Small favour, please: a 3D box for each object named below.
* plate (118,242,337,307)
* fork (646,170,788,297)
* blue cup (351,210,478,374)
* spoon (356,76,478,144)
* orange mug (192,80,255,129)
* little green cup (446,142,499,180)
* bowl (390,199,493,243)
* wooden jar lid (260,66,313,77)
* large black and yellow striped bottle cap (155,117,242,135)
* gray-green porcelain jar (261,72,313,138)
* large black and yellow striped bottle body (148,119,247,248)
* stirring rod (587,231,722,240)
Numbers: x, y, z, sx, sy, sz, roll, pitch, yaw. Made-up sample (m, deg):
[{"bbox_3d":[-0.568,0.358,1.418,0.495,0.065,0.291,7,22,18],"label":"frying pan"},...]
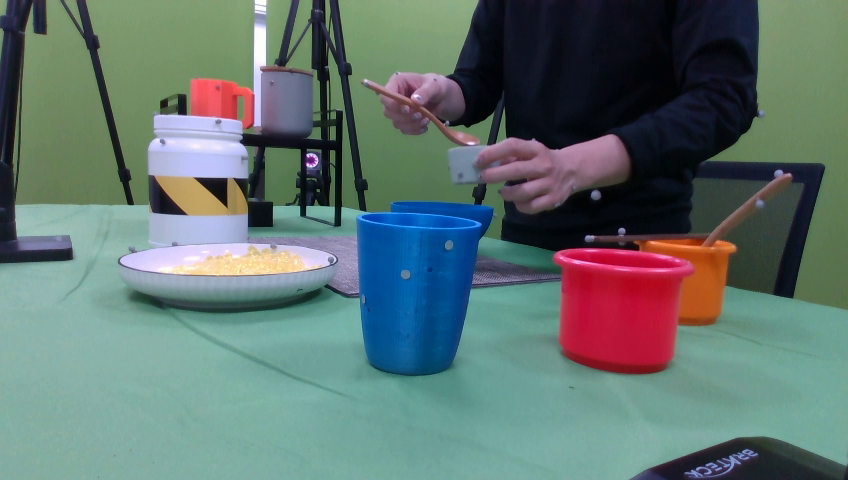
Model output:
[{"bbox_3d":[-0.194,0.033,0.615,0.209,0.038,0.209,2,7,0],"label":"plate"},{"bbox_3d":[0.256,0.004,0.543,0.028,0.018,0.207,3,-36,-9],"label":"fork"},{"bbox_3d":[-0.009,0.034,0.414,0.093,0.100,0.092,3,8,0],"label":"blue cup"},{"bbox_3d":[-0.005,-0.174,0.807,0.195,0.021,0.041,26,26,-31],"label":"spoon"},{"bbox_3d":[-0.389,-0.257,1.172,0.126,0.100,0.083,-1,6,9],"label":"orange mug"},{"bbox_3d":[0.056,-0.089,0.689,0.061,0.038,0.061,-3,2,0],"label":"little green cup"},{"bbox_3d":[0.024,-0.016,0.874,0.151,0.077,0.151,2,7,0],"label":"bowl"},{"bbox_3d":[-0.283,-0.339,1.244,0.108,0.020,0.108,6,9,-1],"label":"wooden jar lid"},{"bbox_3d":[-0.313,-0.159,0.845,0.115,0.019,0.115,3,9,0],"label":"large black and yellow striped bottle cap"},{"bbox_3d":[-0.284,-0.277,1.253,0.106,0.126,0.106,2,8,0],"label":"gray-green porcelain jar"},{"bbox_3d":[-0.318,-0.076,0.855,0.131,0.184,0.130,2,7,0],"label":"large black and yellow striped bottle body"},{"bbox_3d":[0.227,-0.005,0.585,0.177,0.006,0.014,-1,6,-28],"label":"stirring rod"}]
